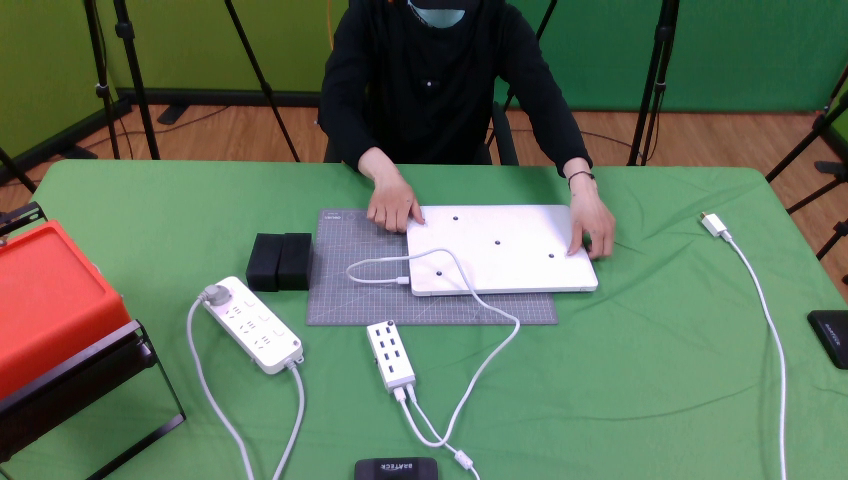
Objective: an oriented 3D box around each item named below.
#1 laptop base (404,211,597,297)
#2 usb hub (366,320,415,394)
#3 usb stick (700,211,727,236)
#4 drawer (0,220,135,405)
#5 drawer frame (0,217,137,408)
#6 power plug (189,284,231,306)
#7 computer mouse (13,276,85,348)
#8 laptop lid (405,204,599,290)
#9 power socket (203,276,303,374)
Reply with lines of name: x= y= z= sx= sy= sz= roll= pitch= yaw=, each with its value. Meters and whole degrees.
laptop base: x=0.143 y=0.017 z=1.195 sx=0.355 sy=0.023 sz=0.234 roll=-1 pitch=44 yaw=-6
usb hub: x=-0.056 y=0.192 z=1.009 sx=0.049 sy=0.025 sz=0.124 roll=-12 pitch=49 yaw=-16
usb stick: x=0.606 y=-0.038 z=1.273 sx=0.027 sy=0.021 sz=0.059 roll=-18 pitch=56 yaw=-21
drawer: x=-0.522 y=0.093 z=0.782 sx=0.193 sy=0.073 sz=0.211 roll=38 pitch=55 yaw=27
drawer frame: x=-0.523 y=0.094 z=0.779 sx=0.200 sy=0.083 sz=0.213 roll=37 pitch=55 yaw=26
power plug: x=-0.368 y=0.100 z=1.037 sx=0.072 sy=0.053 sz=0.035 roll=-23 pitch=54 yaw=-27
computer mouse: x=-0.496 y=0.090 z=0.804 sx=0.063 sy=0.041 sz=0.116 roll=-7 pitch=42 yaw=-7
laptop lid: x=0.143 y=0.007 z=1.188 sx=0.357 sy=0.013 sz=0.240 roll=0 pitch=44 yaw=-5
power socket: x=-0.296 y=0.141 z=1.034 sx=0.072 sy=0.033 sz=0.225 roll=-35 pitch=58 yaw=-30
